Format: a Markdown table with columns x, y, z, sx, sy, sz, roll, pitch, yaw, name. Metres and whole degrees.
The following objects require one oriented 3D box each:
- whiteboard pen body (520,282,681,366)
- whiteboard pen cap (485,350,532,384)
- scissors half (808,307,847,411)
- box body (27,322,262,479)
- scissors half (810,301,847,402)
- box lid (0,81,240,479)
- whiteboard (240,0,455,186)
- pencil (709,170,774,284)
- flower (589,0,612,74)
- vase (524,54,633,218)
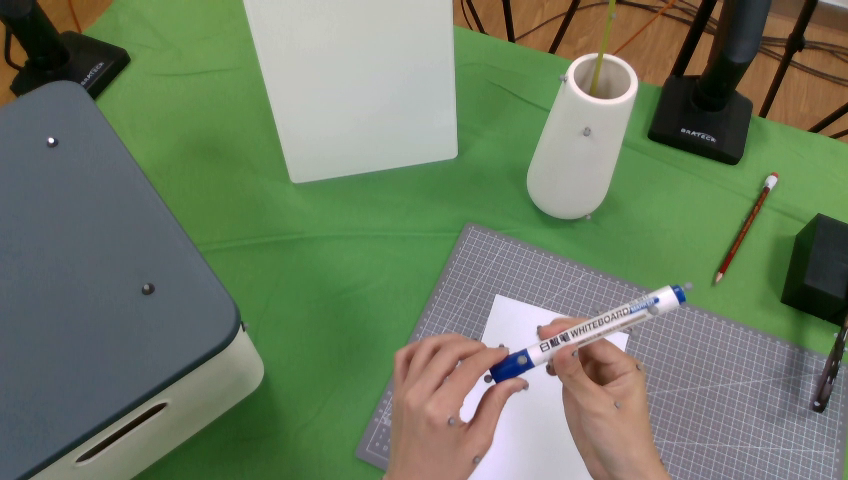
| x | y | z | sx | sy | sz | roll | pitch | yaw | name |
| --- | --- | --- | --- | --- | --- | --- | --- | --- | --- |
| 0.114 | 0.065 | 0.431 | 0.141 | 0.017 | 0.017 | -27 | 61 | 11 | whiteboard pen body |
| 0.063 | 0.092 | 0.441 | 0.033 | 0.018 | 0.018 | -24 | 61 | 9 | whiteboard pen cap |
| 0.434 | 0.096 | 0.633 | 0.012 | 0.040 | 0.175 | 19 | 80 | 36 | scissors half |
| -0.359 | 0.056 | 0.597 | 0.254 | 0.161 | 0.361 | -35 | 67 | -18 | box body |
| 0.426 | 0.086 | 0.617 | 0.012 | 0.040 | 0.174 | 20 | 63 | 31 | scissors half |
| -0.360 | 0.017 | 0.533 | 0.263 | 0.015 | 0.368 | -35 | 67 | -19 | box lid |
| -0.087 | -0.246 | 0.724 | 0.217 | 0.308 | 0.142 | -10 | 42 | -5 | whiteboard |
| 0.386 | -0.019 | 0.736 | 0.012 | 0.012 | 0.193 | 32 | 66 | 17 | pencil |
| 0.169 | -0.164 | 0.612 | 0.044 | 0.365 | 0.038 | 15 | 44 | 12 | flower |
| 0.170 | -0.110 | 0.677 | 0.098 | 0.201 | 0.097 | 0 | 59 | 0 | vase |
